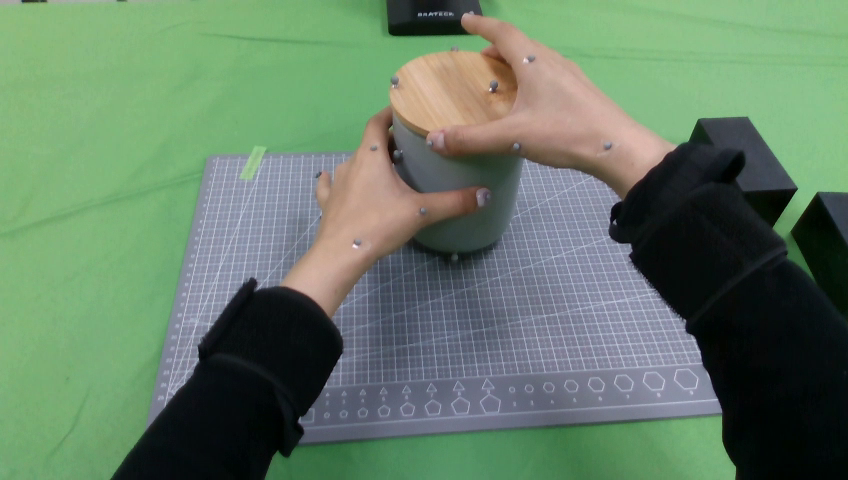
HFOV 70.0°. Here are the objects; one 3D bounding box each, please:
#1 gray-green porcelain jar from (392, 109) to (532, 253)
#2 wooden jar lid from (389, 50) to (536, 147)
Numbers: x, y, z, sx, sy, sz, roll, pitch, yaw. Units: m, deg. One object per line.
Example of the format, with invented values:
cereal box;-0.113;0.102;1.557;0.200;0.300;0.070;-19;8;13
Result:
gray-green porcelain jar;0.027;-0.060;0.498;0.106;0.127;0.105;1;49;-1
wooden jar lid;0.028;-0.103;0.449;0.108;0.021;0.107;1;48;-1
